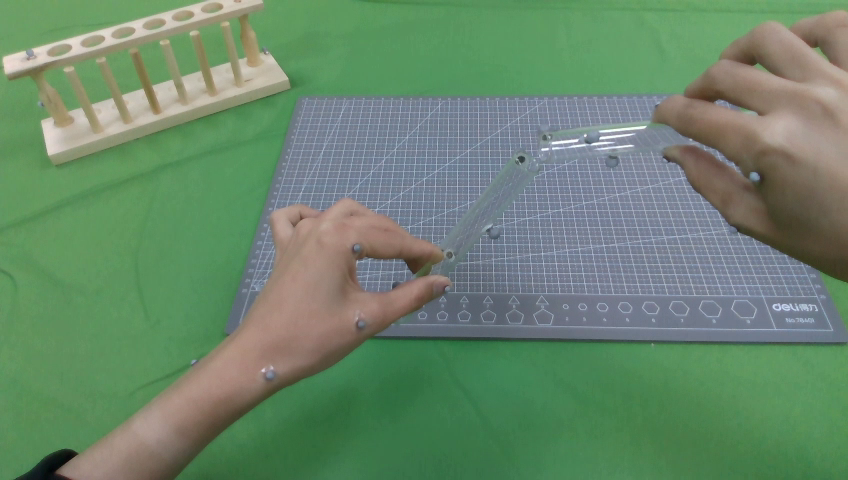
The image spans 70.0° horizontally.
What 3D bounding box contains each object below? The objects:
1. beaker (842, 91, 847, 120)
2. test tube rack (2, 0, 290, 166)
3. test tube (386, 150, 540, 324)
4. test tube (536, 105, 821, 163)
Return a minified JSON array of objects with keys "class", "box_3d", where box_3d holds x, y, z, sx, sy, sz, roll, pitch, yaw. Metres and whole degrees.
[{"class":"beaker","box_3d":[0.386,-0.137,0.477,0.074,0.101,0.083,-20,50,-15]},{"class":"test tube rack","box_3d":[-0.268,-0.166,0.609,0.242,0.086,0.066,-24,51,-18]},{"class":"test tube","box_3d":[0.016,0.005,0.347,0.017,0.151,0.017,21,42,-20]},{"class":"test tube","box_3d":[0.129,-0.053,0.302,0.150,0.017,0.017,-7,48,-8]}]
